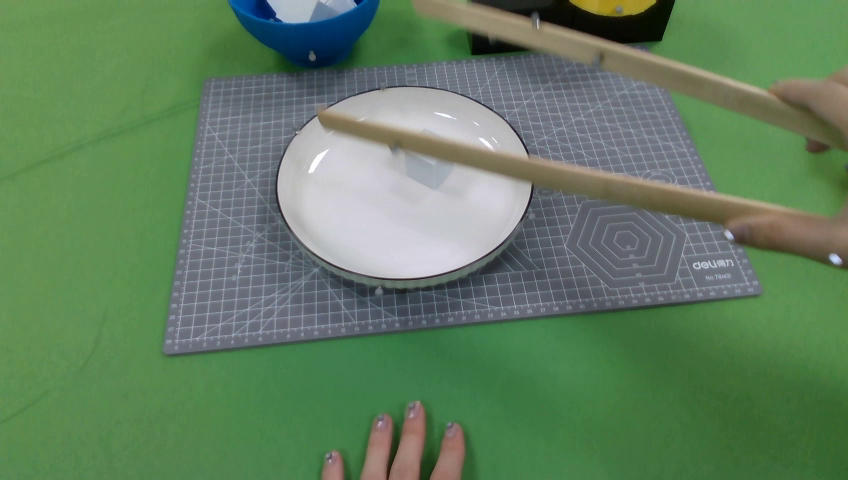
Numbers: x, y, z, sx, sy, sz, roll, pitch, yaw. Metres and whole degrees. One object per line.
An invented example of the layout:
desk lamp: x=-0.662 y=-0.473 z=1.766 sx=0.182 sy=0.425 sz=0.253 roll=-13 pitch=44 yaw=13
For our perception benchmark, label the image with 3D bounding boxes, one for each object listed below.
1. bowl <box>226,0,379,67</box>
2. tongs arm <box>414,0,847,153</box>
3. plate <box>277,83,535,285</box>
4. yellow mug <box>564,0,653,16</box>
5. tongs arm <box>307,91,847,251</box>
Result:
bowl: x=-0.114 y=-0.229 z=0.607 sx=0.151 sy=0.077 sz=0.150 roll=-1 pitch=56 yaw=1
tongs arm: x=0.128 y=-0.107 z=0.399 sx=0.382 sy=0.027 sz=0.050 roll=27 pitch=68 yaw=25
plate: x=-0.014 y=-0.048 z=0.502 sx=0.208 sy=0.039 sz=0.205 roll=0 pitch=56 yaw=1
yellow mug: x=0.166 y=-0.268 z=0.577 sx=0.131 sy=0.064 sz=0.099 roll=-19 pitch=57 yaw=-11
tongs arm: x=0.090 y=-0.050 z=0.375 sx=0.385 sy=0.028 sz=0.028 roll=17 pitch=61 yaw=21
